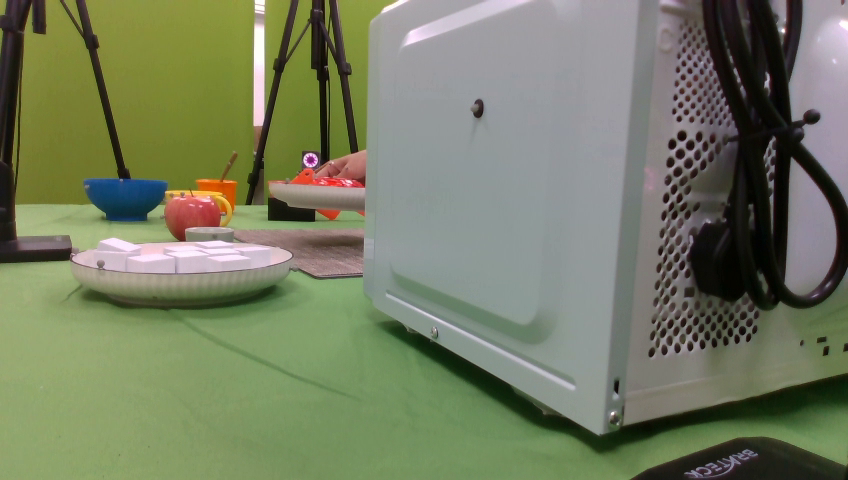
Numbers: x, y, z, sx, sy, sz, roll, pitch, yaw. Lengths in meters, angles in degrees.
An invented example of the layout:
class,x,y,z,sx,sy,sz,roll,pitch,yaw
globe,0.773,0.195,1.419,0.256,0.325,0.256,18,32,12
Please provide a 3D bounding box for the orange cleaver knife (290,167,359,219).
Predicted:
class,x,y,z,sx,sy,sz,roll,pitch,yaw
orange cleaver knife,-0.209,-0.089,1.383,0.212,0.077,0.012,31,3,-15

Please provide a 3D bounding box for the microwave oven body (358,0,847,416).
class,x,y,z,sx,sy,sz,roll,pitch,yaw
microwave oven body,0.211,-0.047,0.475,0.444,0.260,0.324,-1,7,-28

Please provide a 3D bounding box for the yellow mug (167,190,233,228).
class,x,y,z,sx,sy,sz,roll,pitch,yaw
yellow mug,-0.415,-0.057,1.132,0.130,0.064,0.100,6,8,16

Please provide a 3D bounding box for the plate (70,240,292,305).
class,x,y,z,sx,sy,sz,roll,pitch,yaw
plate,-0.242,0.031,0.618,0.208,0.039,0.207,2,8,0

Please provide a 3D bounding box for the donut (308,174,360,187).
class,x,y,z,sx,sy,sz,roll,pitch,yaw
donut,-0.142,-0.082,0.989,0.099,0.048,0.099,4,4,0

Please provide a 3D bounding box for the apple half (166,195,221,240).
class,x,y,z,sx,sy,sz,roll,pitch,yaw
apple half,-0.351,-0.031,0.935,0.081,0.074,0.053,1,11,-40

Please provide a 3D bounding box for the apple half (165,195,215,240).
class,x,y,z,sx,sy,sz,roll,pitch,yaw
apple half,-0.377,-0.038,0.964,0.082,0.081,0.032,-4,15,-39

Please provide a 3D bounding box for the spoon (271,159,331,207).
class,x,y,z,sx,sy,sz,roll,pitch,yaw
spoon,-0.308,-0.142,1.514,0.193,0.021,0.041,-41,3,8

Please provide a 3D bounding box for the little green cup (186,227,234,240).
class,x,y,z,sx,sy,sz,roll,pitch,yaw
little green cup,-0.285,0.005,0.805,0.061,0.038,0.061,2,8,0

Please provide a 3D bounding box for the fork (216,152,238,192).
class,x,y,z,sx,sy,sz,roll,pitch,yaw
fork,-0.455,-0.132,1.366,0.028,0.018,0.207,-2,-35,-37

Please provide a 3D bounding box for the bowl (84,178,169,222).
class,x,y,z,sx,sy,sz,roll,pitch,yaw
bowl,-0.584,-0.078,1.194,0.151,0.077,0.151,3,8,0

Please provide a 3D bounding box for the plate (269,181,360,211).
class,x,y,z,sx,sy,sz,roll,pitch,yaw
plate,-0.143,-0.070,0.971,0.209,0.038,0.209,4,5,0

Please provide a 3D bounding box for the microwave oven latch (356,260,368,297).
class,x,y,z,sx,sy,sz,roll,pitch,yaw
microwave oven latch,-0.020,0.033,0.531,0.079,0.029,0.030,-1,7,-27

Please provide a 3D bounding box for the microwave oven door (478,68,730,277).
class,x,y,z,sx,sy,sz,roll,pitch,yaw
microwave oven door,0.219,-0.097,0.825,0.039,0.243,0.354,-5,10,-42
